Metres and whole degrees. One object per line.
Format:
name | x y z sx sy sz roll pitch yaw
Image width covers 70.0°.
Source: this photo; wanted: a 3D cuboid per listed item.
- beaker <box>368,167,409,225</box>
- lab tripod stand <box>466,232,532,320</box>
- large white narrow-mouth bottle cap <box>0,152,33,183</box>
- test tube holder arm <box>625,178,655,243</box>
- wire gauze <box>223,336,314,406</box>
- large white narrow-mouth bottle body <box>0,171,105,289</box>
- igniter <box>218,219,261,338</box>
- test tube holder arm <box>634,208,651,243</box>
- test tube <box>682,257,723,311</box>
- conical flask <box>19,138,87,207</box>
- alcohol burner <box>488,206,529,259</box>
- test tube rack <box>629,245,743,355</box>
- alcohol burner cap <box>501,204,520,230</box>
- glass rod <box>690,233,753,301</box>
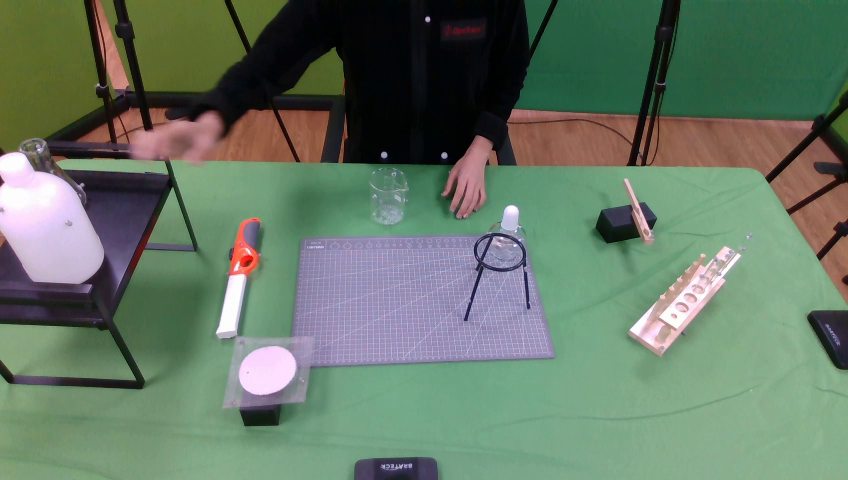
beaker | -0.070 -0.085 1.220 0.084 0.101 0.074 21 49 15
lab tripod stand | 0.125 0.059 1.065 0.148 0.132 0.147 1 45 0
large white narrow-mouth bottle cap | -0.510 -0.090 0.754 0.038 0.024 0.037 2 46 -2
test tube holder arm | 0.433 -0.062 1.220 0.013 0.015 0.177 1 47 -3
wire gauze | -0.236 0.197 0.931 0.121 0.011 0.124 1 45 -4
large white narrow-mouth bottle body | -0.513 -0.029 0.818 0.102 0.195 0.101 2 46 -2
igniter | -0.336 0.060 1.111 0.057 0.025 0.274 -8 46 4
test tube holder arm | 0.428 -0.030 1.189 0.010 0.015 0.087 1 47 -2
test tube | 0.475 0.080 1.037 0.017 0.151 0.017 1 51 -1
conical flask | -0.576 -0.097 0.930 0.075 0.122 0.075 2 46 -2
alcohol burner | 0.163 -0.020 1.158 0.078 0.120 0.077 0 47 0
test tube rack | 0.474 0.095 1.091 0.242 0.085 0.066 -34 56 -31
alcohol burner cap | 0.164 -0.046 1.133 0.034 0.048 0.033 2 40 -2
glass rod | 0.507 0.053 1.041 0.008 0.200 0.008 5 51 -6
